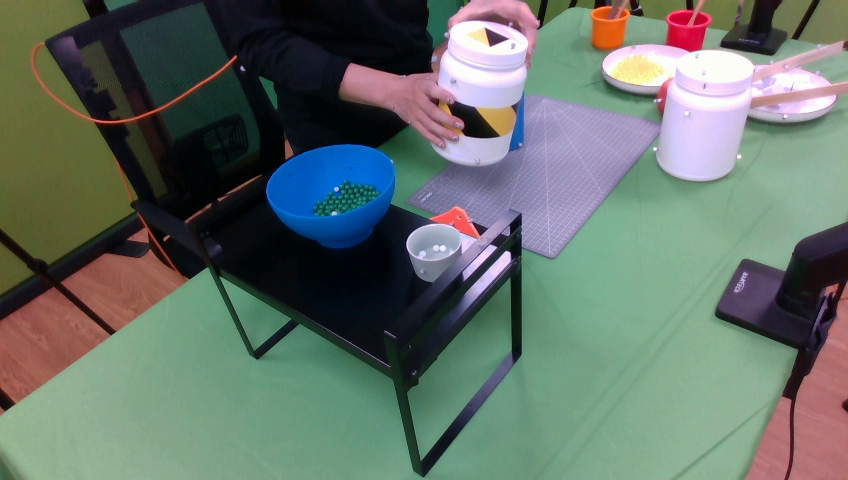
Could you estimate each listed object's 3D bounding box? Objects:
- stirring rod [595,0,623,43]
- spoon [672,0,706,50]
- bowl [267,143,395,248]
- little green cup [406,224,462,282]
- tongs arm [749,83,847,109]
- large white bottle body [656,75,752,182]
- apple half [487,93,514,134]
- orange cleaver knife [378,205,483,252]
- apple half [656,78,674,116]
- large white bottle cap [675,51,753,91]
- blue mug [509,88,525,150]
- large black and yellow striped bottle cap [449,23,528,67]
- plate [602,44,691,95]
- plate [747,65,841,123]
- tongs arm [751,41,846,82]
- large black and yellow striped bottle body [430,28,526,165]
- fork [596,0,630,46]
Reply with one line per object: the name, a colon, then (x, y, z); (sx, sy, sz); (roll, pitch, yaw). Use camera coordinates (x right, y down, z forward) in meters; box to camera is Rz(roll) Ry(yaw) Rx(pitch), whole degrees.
stirring rod: (0.460, -0.556, 1.459); (0.014, 0.006, 0.176); (30, 93, 23)
spoon: (0.629, -0.520, 1.394); (0.041, 0.022, 0.193); (30, 97, 34)
bowl: (-0.104, -0.043, 0.726); (0.151, 0.077, 0.150); (-4, 41, 4)
little green cup: (0.013, 0.015, 0.668); (0.061, 0.039, 0.061); (-4, 40, 4)
tongs arm: (0.734, -0.280, 1.134); (0.388, 0.028, 0.028); (-9, 47, -5)
large white bottle body: (0.472, -0.207, 1.022); (0.130, 0.185, 0.130); (-4, 41, 4)
apple half: (0.142, -0.238, 1.158); (0.033, 0.081, 0.080); (-12, 40, -16)
orange cleaver knife: (0.005, -0.010, 0.944); (0.210, 0.077, 0.012); (-4, 23, 47)
apple half: (0.488, -0.281, 1.192); (0.053, 0.075, 0.081); (24, 54, 37)
large white bottle cap: (0.463, -0.271, 0.967); (0.115, 0.018, 0.114); (-4, 40, 3)
blue mug: (0.138, -0.240, 1.169); (0.116, 0.106, 0.082); (10, 44, 21)
large black and yellow striped bottle cap: (0.093, -0.285, 0.878); (0.115, 0.019, 0.114); (5, 40, -4)
plate: (0.495, -0.367, 1.317); (0.209, 0.038, 0.208); (-4, 40, 4)
plate: (0.695, -0.283, 1.189); (0.207, 0.039, 0.206); (-4, 40, 4)
tongs arm: (0.708, -0.331, 1.194); (0.386, 0.026, 0.050); (-18, 45, -16)
large black and yellow striped bottle body: (0.084, -0.224, 0.934); (0.131, 0.184, 0.130); (5, 41, -4)
fork: (0.481, -0.556, 1.452); (0.028, 0.019, 0.207); (40, 103, 40)
